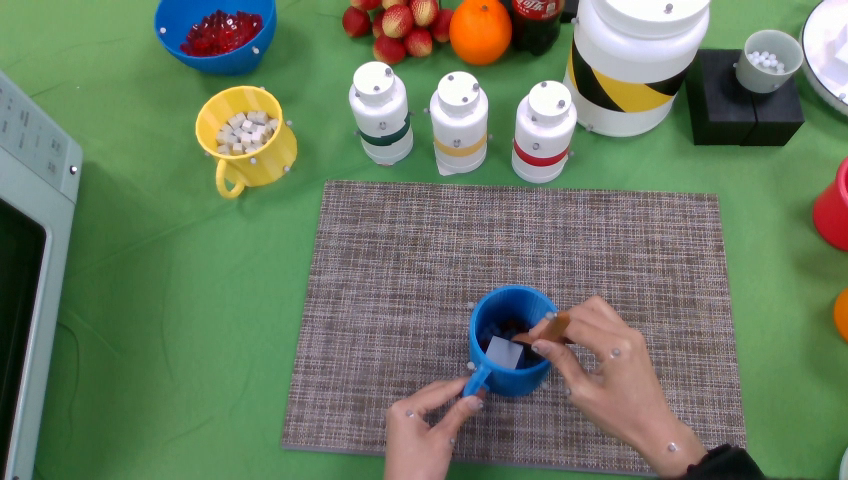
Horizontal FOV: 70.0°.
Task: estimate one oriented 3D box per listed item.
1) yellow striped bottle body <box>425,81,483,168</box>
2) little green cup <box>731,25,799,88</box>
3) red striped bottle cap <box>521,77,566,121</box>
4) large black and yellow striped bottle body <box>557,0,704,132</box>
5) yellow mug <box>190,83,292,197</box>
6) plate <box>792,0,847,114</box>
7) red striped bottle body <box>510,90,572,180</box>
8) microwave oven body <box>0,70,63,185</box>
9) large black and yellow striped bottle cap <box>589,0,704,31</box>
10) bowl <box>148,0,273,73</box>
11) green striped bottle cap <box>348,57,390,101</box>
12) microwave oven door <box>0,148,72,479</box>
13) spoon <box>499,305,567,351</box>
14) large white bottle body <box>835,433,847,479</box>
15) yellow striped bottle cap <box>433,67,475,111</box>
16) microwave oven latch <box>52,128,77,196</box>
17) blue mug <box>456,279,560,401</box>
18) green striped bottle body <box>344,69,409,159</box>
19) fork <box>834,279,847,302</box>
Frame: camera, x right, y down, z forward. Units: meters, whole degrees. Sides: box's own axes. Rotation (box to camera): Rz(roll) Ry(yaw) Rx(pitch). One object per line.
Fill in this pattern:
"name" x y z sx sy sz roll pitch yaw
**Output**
"yellow striped bottle body" 0.035 -0.136 0.673 0.063 0.121 0.062 -2 66 4
"little green cup" 0.371 -0.199 0.666 0.061 0.039 0.061 0 65 1
"red striped bottle cap" 0.121 -0.143 0.613 0.044 0.018 0.044 0 66 0
"large black and yellow striped bottle body" 0.221 -0.219 0.661 0.131 0.185 0.130 -1 67 4
"yellow mug" -0.217 -0.112 0.708 0.100 0.064 0.130 12 69 8
"plate" 0.543 -0.220 0.720 0.209 0.038 0.207 -1 67 3
"red striped bottle body" 0.126 -0.122 0.661 0.063 0.120 0.062 -2 65 6
"microwave oven body" -0.567 0.049 0.554 0.326 0.262 0.438 -6 67 1
"large black and yellow striped bottle cap" 0.215 -0.252 0.584 0.115 0.019 0.114 -2 66 4
"bowl" -0.259 -0.268 0.771 0.151 0.077 0.150 -1 67 3
"green striped bottle cap" -0.058 -0.169 0.636 0.044 0.020 0.044 -1 66 2
"microwave oven door" -0.419 0.070 0.530 0.039 0.245 0.353 -7 67 2
"spoon" 0.094 0.078 0.511 0.041 0.194 0.021 12 77 2
"large white bottle body" 0.435 0.191 0.472 0.130 0.186 0.129 -1 66 4
"yellow striped bottle cap" 0.031 -0.156 0.625 0.044 0.019 0.044 -1 68 3
"microwave oven latch" -0.430 -0.090 0.709 0.030 0.030 0.078 -5 68 1
"blue mug" 0.070 0.105 0.572 0.082 0.106 0.116 38 74 18
"green striped bottle body" -0.053 -0.148 0.684 0.063 0.120 0.062 -1 67 4
"fork" 0.469 0.078 0.537 0.028 0.019 0.205 -35 25 -9
